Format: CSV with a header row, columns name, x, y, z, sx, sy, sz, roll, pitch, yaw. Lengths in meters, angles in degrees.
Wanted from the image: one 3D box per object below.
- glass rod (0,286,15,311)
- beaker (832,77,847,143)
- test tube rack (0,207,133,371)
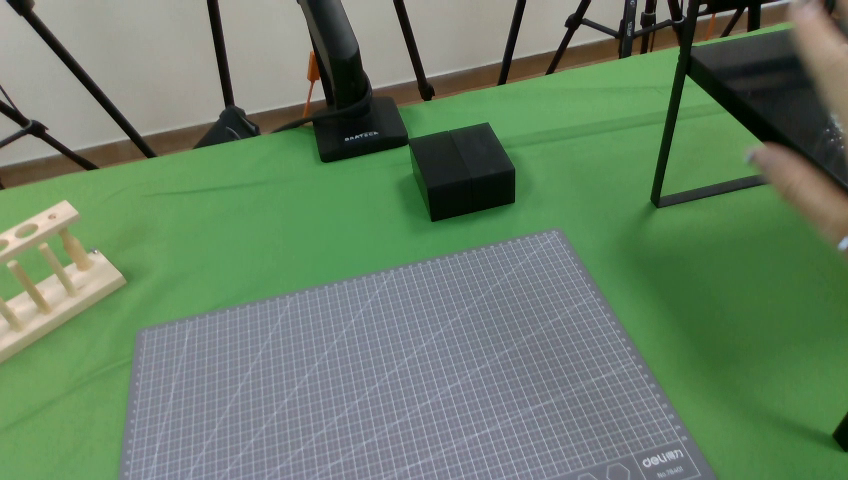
name,x,y,z,sx,sy,sz,roll,pitch,yaw
glass rod,-0.430,0.002,0.575,0.008,0.201,0.008,-3,34,2
beaker,0.330,-0.116,0.413,0.074,0.101,0.083,-31,47,-23
test tube rack,-0.429,0.073,0.596,0.066,0.086,0.242,31,55,34
